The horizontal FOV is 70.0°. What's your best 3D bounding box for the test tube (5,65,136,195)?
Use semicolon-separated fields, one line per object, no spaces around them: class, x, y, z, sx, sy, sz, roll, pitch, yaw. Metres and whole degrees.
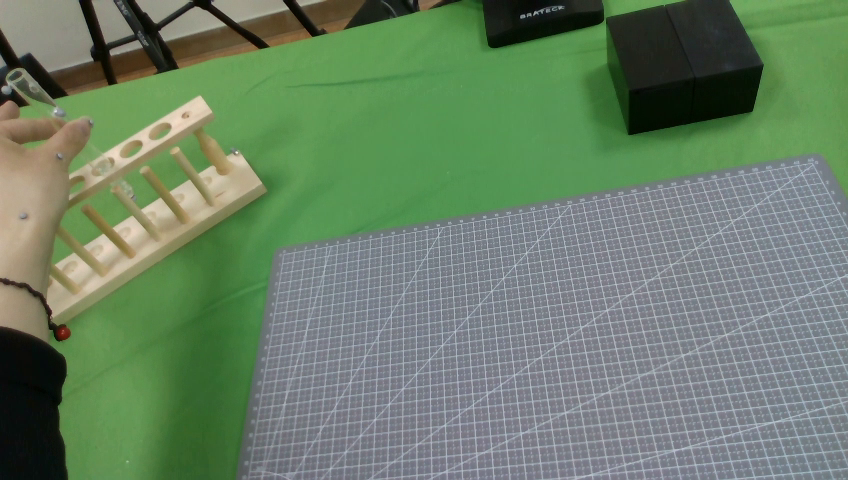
test tube;-0.288;-0.084;0.507;0.017;0.152;0.017;-5;57;9

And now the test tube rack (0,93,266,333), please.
test tube rack;-0.278;-0.026;0.557;0.242;0.086;0.066;-35;53;-9
